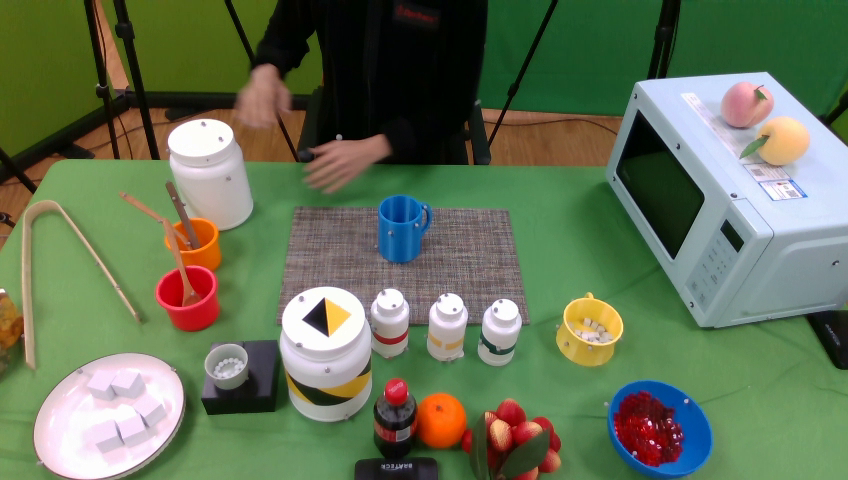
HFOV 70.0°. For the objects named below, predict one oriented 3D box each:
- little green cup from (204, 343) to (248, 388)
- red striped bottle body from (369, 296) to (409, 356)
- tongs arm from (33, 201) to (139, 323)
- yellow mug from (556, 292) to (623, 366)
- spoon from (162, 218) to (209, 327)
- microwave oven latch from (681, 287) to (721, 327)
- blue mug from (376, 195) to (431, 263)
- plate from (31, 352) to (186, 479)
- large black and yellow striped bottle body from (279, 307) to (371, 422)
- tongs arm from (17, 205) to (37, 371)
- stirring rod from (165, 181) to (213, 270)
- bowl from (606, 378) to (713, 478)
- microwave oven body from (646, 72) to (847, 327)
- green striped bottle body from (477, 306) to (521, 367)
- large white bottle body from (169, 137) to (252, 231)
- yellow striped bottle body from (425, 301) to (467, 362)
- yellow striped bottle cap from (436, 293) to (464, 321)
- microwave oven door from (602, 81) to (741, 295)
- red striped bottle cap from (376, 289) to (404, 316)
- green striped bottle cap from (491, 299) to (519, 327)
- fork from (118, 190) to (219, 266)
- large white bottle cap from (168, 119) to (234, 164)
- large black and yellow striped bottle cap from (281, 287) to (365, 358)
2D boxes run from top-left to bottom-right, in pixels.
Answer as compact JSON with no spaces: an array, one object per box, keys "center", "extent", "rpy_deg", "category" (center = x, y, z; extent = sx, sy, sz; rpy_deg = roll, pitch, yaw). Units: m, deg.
[{"center":[-0.294,0.190,0.909],"extent":[0.061,0.039,0.061],"rpy_deg":[1,48,0],"category":"little green cup"},{"center":[-0.058,0.134,0.997],"extent":[0.063,0.120,0.062],"rpy_deg":[4,47,-4],"category":"red striped bottle body"},{"center":[-0.623,0.035,1.105],"extent":[0.051,0.026,0.382],"rpy_deg":[-33,56,-25],"category":"tongs arm"},{"center":[0.285,0.145,1.051],"extent":[0.100,0.064,0.130],"rpy_deg":[7,45,3],"category":"yellow mug"},{"center":[-0.410,0.054,1.029],"extent":[0.041,0.021,0.194],"rpy_deg":[-17,94,-15],"category":"spoon"},{"center":[0.494,0.119,1.087],"extent":[0.030,0.029,0.078],"rpy_deg":[-6,46,-9],"category":"microwave oven latch"},{"center":[-0.035,-0.027,1.159],"extent":[0.116,0.106,0.082],"rpy_deg":[-24,53,-25],"category":"blue mug"},{"center":[-0.459,0.262,0.898],"extent":[0.209,0.038,0.208],"rpy_deg":[2,46,-2],"category":"plate"},{"center":[-0.145,0.173,0.907],"extent":[0.131,0.185,0.130],"rpy_deg":[2,46,-2],"category":"large black and yellow striped bottle body"},{"center":[-0.698,0.071,1.069],"extent":[0.028,0.028,0.385],"rpy_deg":[-21,51,-13],"category":"tongs arm"},{"center":[-0.429,-0.025,1.107],"extent":[0.014,0.006,0.176],"rpy_deg":[-26,95,-20],"category":"stirring rod"},{"center":[0.340,0.292,0.906],"extent":[0.151,0.077,0.150],"rpy_deg":[2,46,-2],"category":"bowl"},{"center":[0.607,-0.089,1.164],"extent":[0.326,0.261,0.438],"rpy_deg":[-7,46,-10],"category":"microwave oven body"},{"center":[0.124,0.151,0.995],"extent":[0.063,0.120,0.063],"rpy_deg":[2,46,-2],"category":"green striped bottle body"},{"center":[-0.411,-0.123,1.169],"extent":[0.131,0.185,0.130],"rpy_deg":[2,46,-2],"category":"large white bottle body"},{"center":[0.037,0.142,0.996],"extent":[0.063,0.121,0.062],"rpy_deg":[3,47,-3],"category":"yellow striped bottle body"},{"center":[0.041,0.106,0.959],"extent":[0.044,0.019,0.044],"rpy_deg":[0,50,1],"category":"yellow striped bottle cap"},{"center":[0.456,-0.107,1.162],"extent":[0.039,0.245,0.353],"rpy_deg":[-7,47,-11],"category":"microwave oven door"},{"center":[-0.054,0.098,0.958],"extent":[0.044,0.018,0.044],"rpy_deg":[0,48,1],"category":"red striped bottle cap"},{"center":[0.128,0.115,0.958],"extent":[0.044,0.020,0.044],"rpy_deg":[1,47,-1],"category":"green striped bottle cap"},{"center":[-0.459,-0.020,1.092],"extent":[0.208,0.018,0.028],"rpy_deg":[44,44,-24],"category":"fork"},{"center":[-0.407,-0.181,1.108],"extent":[0.115,0.018,0.114],"rpy_deg":[2,47,-2],"category":"large white bottle cap"},{"center":[-0.141,0.112,0.847],"extent":[0.115,0.019,0.114],"rpy_deg":[5,45,-4],"category":"large black and yellow striped bottle cap"}]
